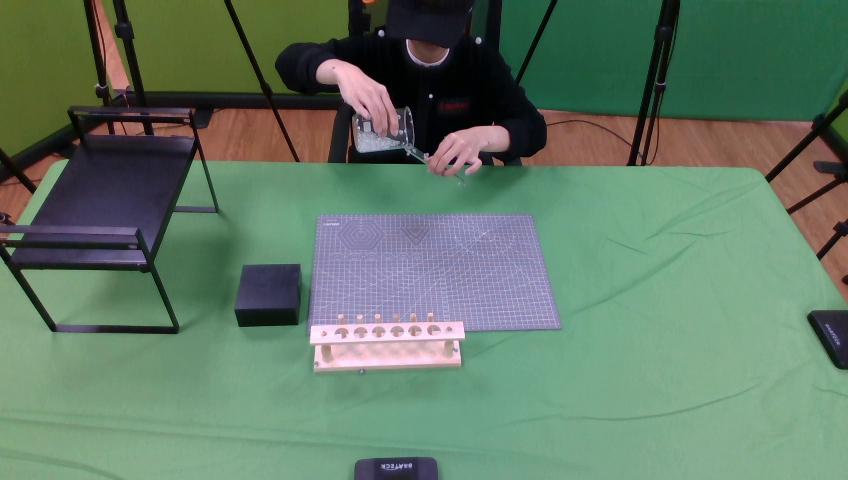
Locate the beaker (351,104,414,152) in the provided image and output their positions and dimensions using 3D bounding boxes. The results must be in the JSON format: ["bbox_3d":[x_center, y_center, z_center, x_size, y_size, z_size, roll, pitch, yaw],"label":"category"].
[{"bbox_3d":[-0.074,-0.193,1.065,0.100,0.084,0.073,-8,41,-10],"label":"beaker"}]

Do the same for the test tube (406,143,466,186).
[{"bbox_3d":[0.025,-0.141,1.139,0.151,0.017,0.017,29,34,-35],"label":"test tube"}]

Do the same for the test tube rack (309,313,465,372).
[{"bbox_3d":[-0.059,0.161,0.990,0.242,0.085,0.066,-1,46,-5],"label":"test tube rack"}]
